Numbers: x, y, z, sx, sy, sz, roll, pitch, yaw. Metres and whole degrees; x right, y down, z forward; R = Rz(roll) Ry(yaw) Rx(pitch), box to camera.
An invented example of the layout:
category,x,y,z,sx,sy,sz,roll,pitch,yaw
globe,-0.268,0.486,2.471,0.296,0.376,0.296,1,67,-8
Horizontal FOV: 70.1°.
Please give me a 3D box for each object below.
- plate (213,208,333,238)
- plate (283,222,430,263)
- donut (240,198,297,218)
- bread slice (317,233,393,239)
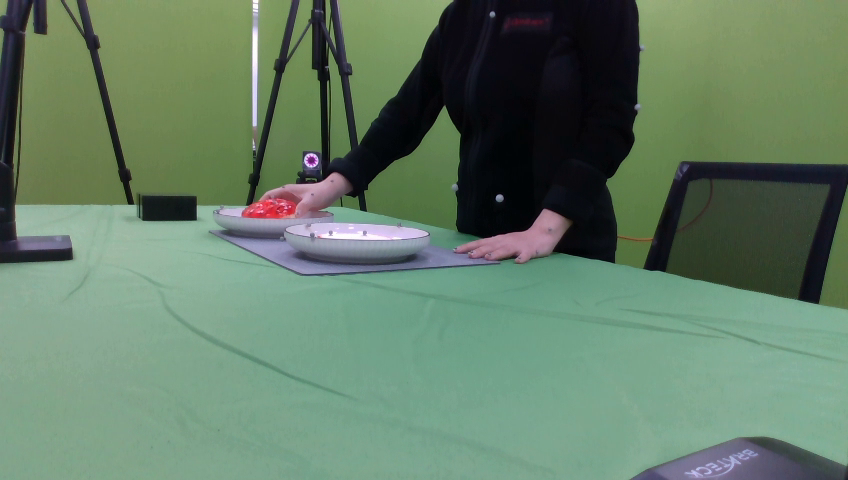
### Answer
category,x,y,z,sx,sy,sz,roll,pitch,yaw
plate,-0.269,-0.032,1.084,0.208,0.039,0.207,2,7,0
plate,-0.094,0.003,0.868,0.209,0.038,0.209,2,7,0
donut,-0.272,-0.045,1.060,0.099,0.048,0.099,-3,19,1
bread slice,-0.096,0.005,0.863,0.107,0.018,0.133,0,7,-30
